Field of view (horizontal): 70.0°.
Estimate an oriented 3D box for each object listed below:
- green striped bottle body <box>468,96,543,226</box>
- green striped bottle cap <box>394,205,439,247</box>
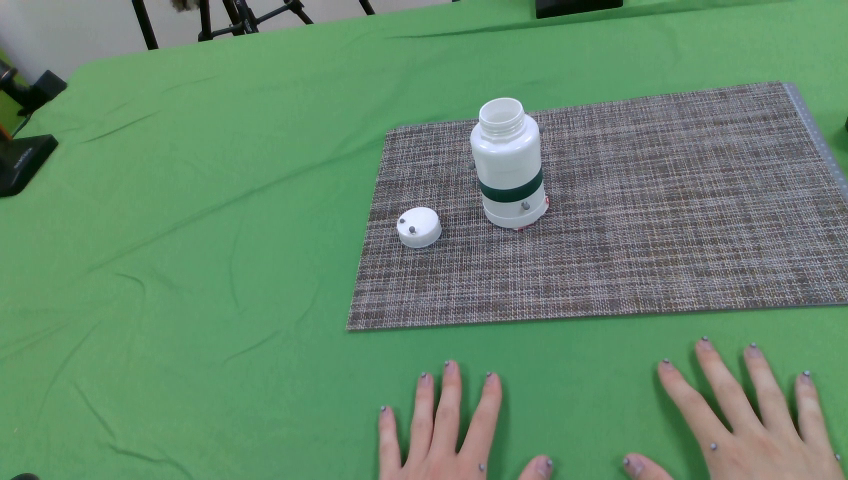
[{"bbox_3d":[0.077,-0.075,0.570,0.063,0.120,0.062,-8,46,9],"label":"green striped bottle body"},{"bbox_3d":[-0.007,-0.015,0.613,0.044,0.020,0.044,-6,47,7],"label":"green striped bottle cap"}]
